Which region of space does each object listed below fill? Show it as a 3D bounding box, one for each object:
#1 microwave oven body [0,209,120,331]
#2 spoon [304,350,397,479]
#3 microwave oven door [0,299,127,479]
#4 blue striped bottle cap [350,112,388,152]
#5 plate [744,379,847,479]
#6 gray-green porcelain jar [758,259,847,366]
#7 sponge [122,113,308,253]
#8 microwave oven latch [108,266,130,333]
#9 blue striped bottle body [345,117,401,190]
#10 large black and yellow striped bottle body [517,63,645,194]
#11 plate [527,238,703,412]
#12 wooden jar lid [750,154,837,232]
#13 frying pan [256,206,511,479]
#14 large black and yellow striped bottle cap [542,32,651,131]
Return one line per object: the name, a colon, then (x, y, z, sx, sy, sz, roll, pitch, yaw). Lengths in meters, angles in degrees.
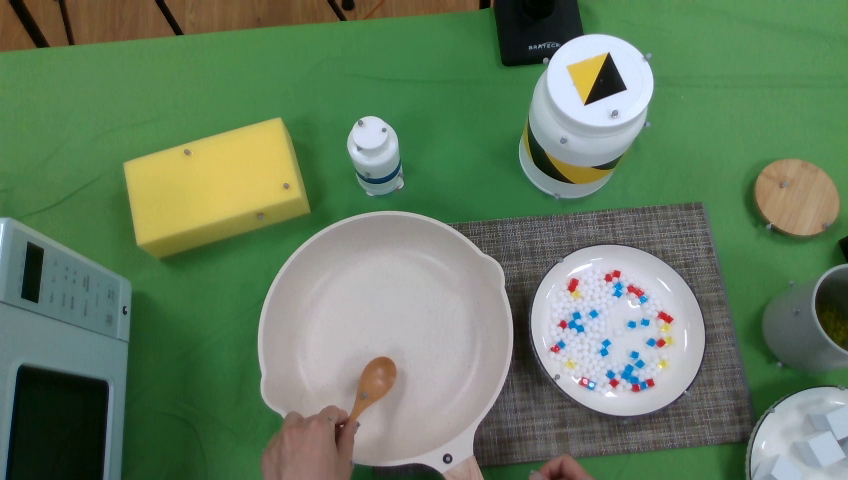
microwave oven body: (-0.514, 0.224, 0.592, 0.326, 0.261, 0.439, -4, 74, -1)
spoon: (-0.084, 0.198, 0.657, 0.022, 0.041, 0.193, 49, 56, -16)
microwave oven door: (-0.366, 0.251, 0.577, 0.039, 0.245, 0.353, -5, 73, -1)
blue striped bottle cap: (-0.065, -0.128, 0.715, 0.044, 0.021, 0.044, -1, 70, 3)
plate: (0.466, 0.264, 0.688, 0.208, 0.039, 0.206, 0, 73, 1)
gray-green porcelain jar: (0.458, 0.089, 0.694, 0.106, 0.127, 0.105, 0, 73, 1)
sponge: (-0.267, -0.073, 0.786, 0.207, 0.061, 0.117, -18, 74, -5)
microwave oven latch: (-0.377, 0.073, 0.737, 0.030, 0.029, 0.078, -3, 74, -1)
blue striped bottle body: (-0.064, -0.114, 0.764, 0.063, 0.121, 0.062, 0, 73, 1)
large black and yellow striped bottle body: (0.188, -0.147, 0.739, 0.131, 0.185, 0.130, 0, 72, 1)
plate: (0.227, 0.101, 0.736, 0.209, 0.038, 0.208, 0, 73, 1)
wooden jar lid: (0.481, -0.060, 0.794, 0.108, 0.021, 0.108, 0, 75, 1)
frying pan: (0.003, 0.188, 0.678, 0.307, 0.103, 0.483, -28, 67, -6)
large black and yellow striped bottle cap: (0.186, -0.173, 0.657, 0.115, 0.019, 0.114, 0, 72, 2)
